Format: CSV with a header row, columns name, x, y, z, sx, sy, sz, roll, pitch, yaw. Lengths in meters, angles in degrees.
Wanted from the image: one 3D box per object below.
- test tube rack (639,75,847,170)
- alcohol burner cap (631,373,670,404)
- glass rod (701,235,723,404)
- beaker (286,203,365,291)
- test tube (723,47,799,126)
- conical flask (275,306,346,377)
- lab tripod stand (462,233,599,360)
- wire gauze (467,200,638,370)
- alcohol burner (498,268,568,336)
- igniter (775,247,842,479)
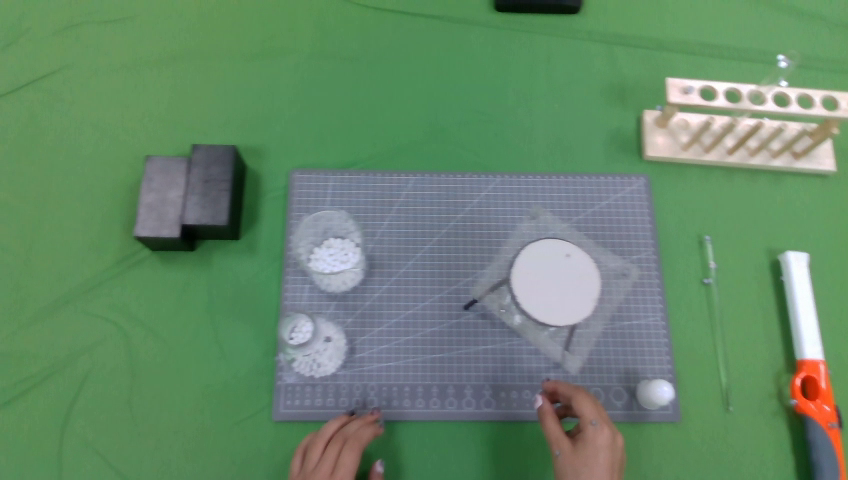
name,x,y,z,sx,sy,sz,roll,pitch,yaw
test tube rack,0.401,-0.143,0.747,0.242,0.085,0.066,4,72,-1
alcohol burner cap,0.251,0.161,0.664,0.034,0.048,0.033,1,71,-3
glass rod,0.338,0.090,0.711,0.008,0.008,0.198,2,75,-2
beaker,-0.101,0.014,0.666,0.084,0.101,0.074,36,74,9
test tube,0.387,-0.173,0.704,0.017,0.151,0.017,0,72,1
conical flask,-0.123,0.099,0.626,0.075,0.122,0.075,1,72,-2
lab tripod stand,0.119,0.057,0.644,0.148,0.132,0.147,0,74,-1
wire gauze,0.123,0.038,0.579,0.124,0.011,0.121,36,76,9
alcohol burner,0.120,0.063,0.652,0.078,0.120,0.077,0,73,0
igniter,0.435,0.141,0.689,0.057,0.025,0.275,6,72,-12
